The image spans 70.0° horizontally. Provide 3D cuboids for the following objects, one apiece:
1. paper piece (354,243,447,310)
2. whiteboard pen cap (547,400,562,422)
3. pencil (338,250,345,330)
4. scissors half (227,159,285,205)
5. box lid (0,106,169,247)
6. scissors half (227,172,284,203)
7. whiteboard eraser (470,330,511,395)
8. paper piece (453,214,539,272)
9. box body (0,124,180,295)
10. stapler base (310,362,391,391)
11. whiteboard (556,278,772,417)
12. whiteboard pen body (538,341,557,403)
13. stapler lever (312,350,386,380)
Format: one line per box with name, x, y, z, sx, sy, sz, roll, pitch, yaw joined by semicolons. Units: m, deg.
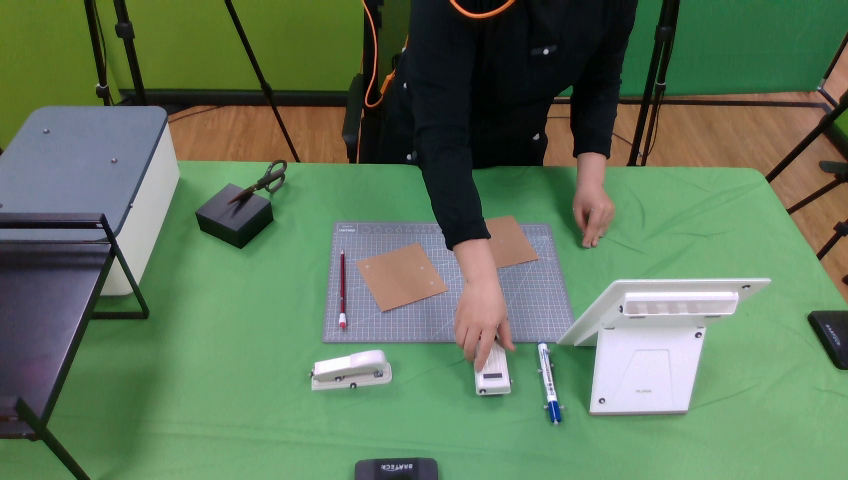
paper piece;-0.046;0.066;1.137;0.136;0.009;0.137;-13;47;-23
whiteboard pen cap;0.205;0.269;0.956;0.018;0.018;0.033;-1;48;-5
pencil;-0.152;0.085;1.107;0.012;0.012;0.192;-2;44;-7
scissors half;-0.336;-0.117;1.218;0.013;0.040;0.175;25;46;13
box lid;-0.624;-0.125;1.067;0.263;0.015;0.369;0;46;-3
scissors half;-0.340;-0.101;1.230;0.013;0.040;0.175;21;28;17
whiteboard eraser;0.109;0.202;0.998;0.055;0.042;0.112;-1;46;-3
paper piece;0.142;0.003;1.213;0.135;0.004;0.135;-11;47;-14
box body;-0.628;-0.075;1.122;0.254;0.161;0.361;1;46;-4
stapler base;-0.119;0.215;0.980;0.131;0.024;0.041;-5;44;-7
whiteboard;0.347;0.174;0.903;0.217;0.306;0.143;1;65;-4
whiteboard pen body;0.205;0.228;0.997;0.017;0.017;0.140;1;47;-3
stapler lever;-0.120;0.199;0.963;0.118;0.040;0.026;-4;44;-8
